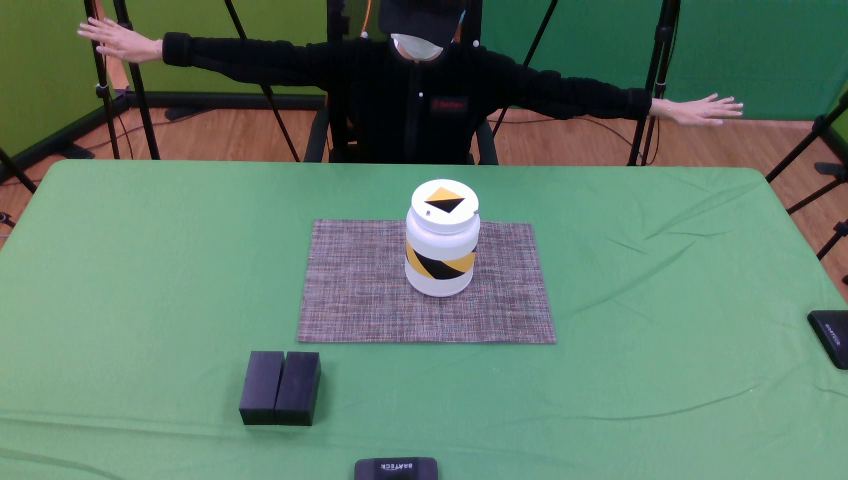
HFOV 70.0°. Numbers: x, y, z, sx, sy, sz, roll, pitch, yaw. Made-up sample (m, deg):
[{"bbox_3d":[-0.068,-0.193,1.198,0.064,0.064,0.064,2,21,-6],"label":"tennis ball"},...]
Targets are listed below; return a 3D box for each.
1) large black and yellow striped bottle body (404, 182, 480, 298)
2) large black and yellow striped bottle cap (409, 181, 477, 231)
[{"bbox_3d":[0.030,-0.001,1.083,0.131,0.185,0.130,2,46,-2],"label":"large black and yellow striped bottle body"},{"bbox_3d":[0.033,-0.059,1.023,0.115,0.019,0.114,3,44,-2],"label":"large black and yellow striped bottle cap"}]
